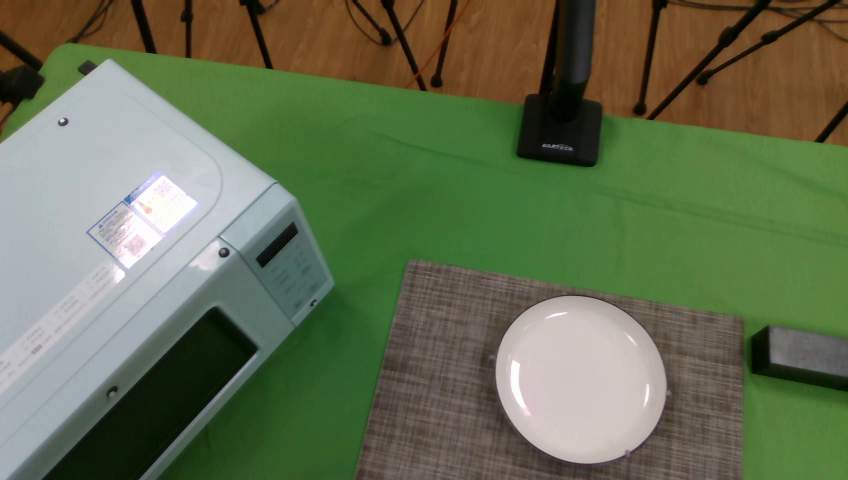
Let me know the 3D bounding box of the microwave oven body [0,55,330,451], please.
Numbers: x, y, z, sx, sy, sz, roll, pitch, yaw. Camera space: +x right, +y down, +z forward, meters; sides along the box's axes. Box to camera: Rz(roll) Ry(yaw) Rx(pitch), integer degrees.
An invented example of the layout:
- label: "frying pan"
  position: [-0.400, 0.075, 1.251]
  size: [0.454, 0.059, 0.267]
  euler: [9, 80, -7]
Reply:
- label: "microwave oven body"
  position: [-0.383, 0.070, 0.694]
  size: [0.324, 0.262, 0.441]
  euler: [35, 72, 16]

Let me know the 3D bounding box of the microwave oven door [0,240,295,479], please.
- label: "microwave oven door"
  position: [-0.296, 0.178, 0.635]
  size: [0.039, 0.245, 0.355]
  euler: [35, 71, 18]

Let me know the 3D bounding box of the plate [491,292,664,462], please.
- label: "plate"
  position: [0.186, 0.167, 0.750]
  size: [0.207, 0.039, 0.206]
  euler: [-1, 65, 2]

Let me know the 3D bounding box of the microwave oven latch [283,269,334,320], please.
- label: "microwave oven latch"
  position: [-0.153, 0.066, 0.795]
  size: [0.030, 0.030, 0.079]
  euler: [37, 72, 17]
